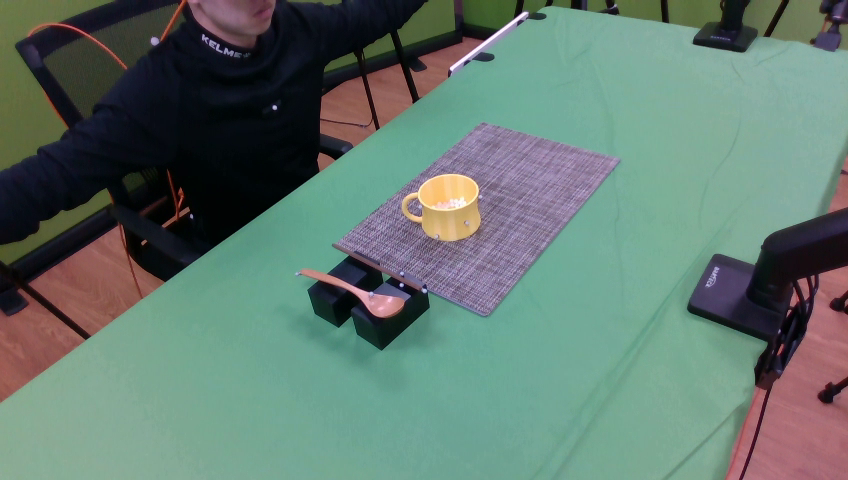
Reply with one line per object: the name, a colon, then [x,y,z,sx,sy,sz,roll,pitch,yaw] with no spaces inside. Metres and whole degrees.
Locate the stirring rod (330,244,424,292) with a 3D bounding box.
stirring rod: [-0.070,0.038,0.863,0.175,0.006,0.014,24,12,31]

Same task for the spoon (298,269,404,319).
spoon: [-0.106,0.068,0.831,0.192,0.022,0.042,21,49,32]

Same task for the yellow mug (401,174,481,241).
yellow mug: [0.026,-0.054,0.988,0.130,0.064,0.099,-1,40,8]
